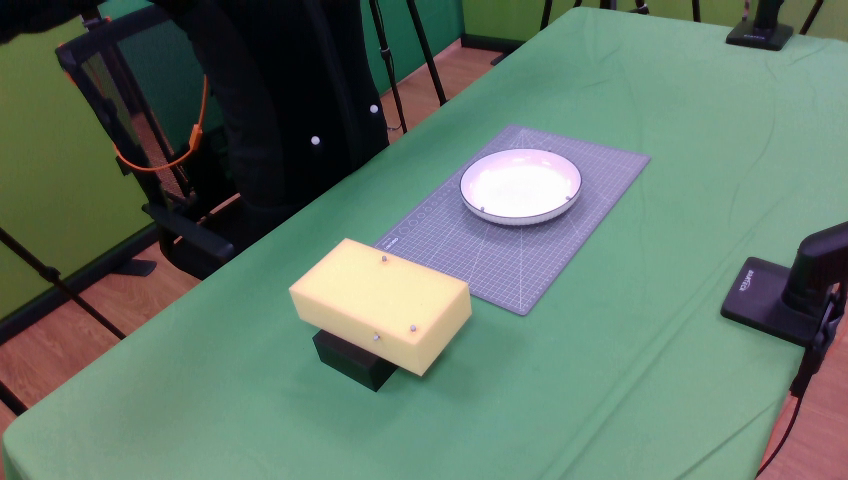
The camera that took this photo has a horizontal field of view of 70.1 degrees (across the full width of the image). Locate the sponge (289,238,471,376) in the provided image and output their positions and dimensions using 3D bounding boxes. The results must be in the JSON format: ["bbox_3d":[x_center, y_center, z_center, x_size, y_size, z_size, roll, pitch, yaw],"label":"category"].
[{"bbox_3d":[-0.058,0.081,0.794,0.205,0.061,0.118,19,48,29],"label":"sponge"}]

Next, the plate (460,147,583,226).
[{"bbox_3d":[0.166,-0.089,1.043,0.209,0.038,0.208,-5,40,5],"label":"plate"}]
